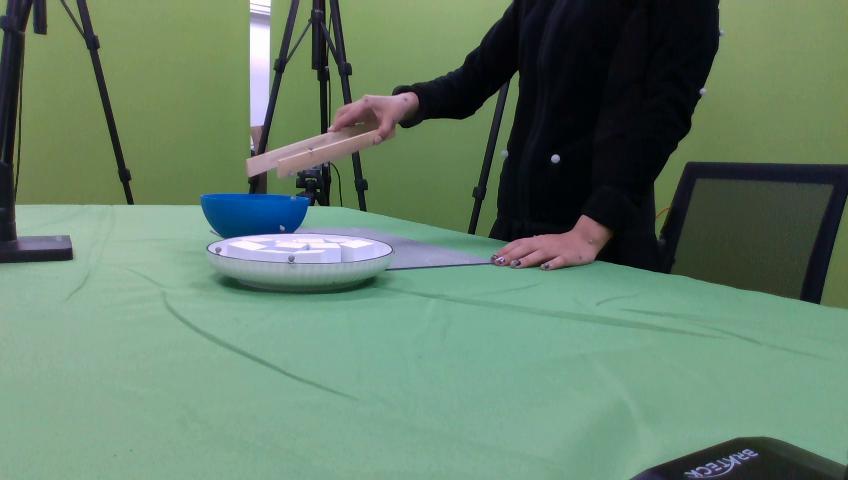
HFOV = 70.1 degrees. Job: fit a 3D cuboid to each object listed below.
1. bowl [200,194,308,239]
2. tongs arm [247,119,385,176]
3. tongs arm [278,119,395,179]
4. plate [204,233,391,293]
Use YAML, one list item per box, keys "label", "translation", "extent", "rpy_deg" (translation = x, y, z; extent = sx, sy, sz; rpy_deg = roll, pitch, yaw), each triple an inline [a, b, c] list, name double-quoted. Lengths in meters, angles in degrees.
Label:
- label: "bowl"
  translation: [-0.245, -0.025, 0.879]
  extent: [0.151, 0.077, 0.151]
  rpy_deg: [2, 7, 0]
- label: "tongs arm"
  translation: [-0.160, -0.157, 0.980]
  extent: [0.028, 0.028, 0.388]
  rpy_deg: [3, 19, 23]
- label: "tongs arm"
  translation: [-0.131, -0.154, 0.970]
  extent: [0.050, 0.026, 0.386]
  rpy_deg: [7, 21, 23]
- label: "plate"
  translation: [-0.143, 0.025, 0.697]
  extent: [0.208, 0.039, 0.207]
  rpy_deg: [3, 9, 0]
